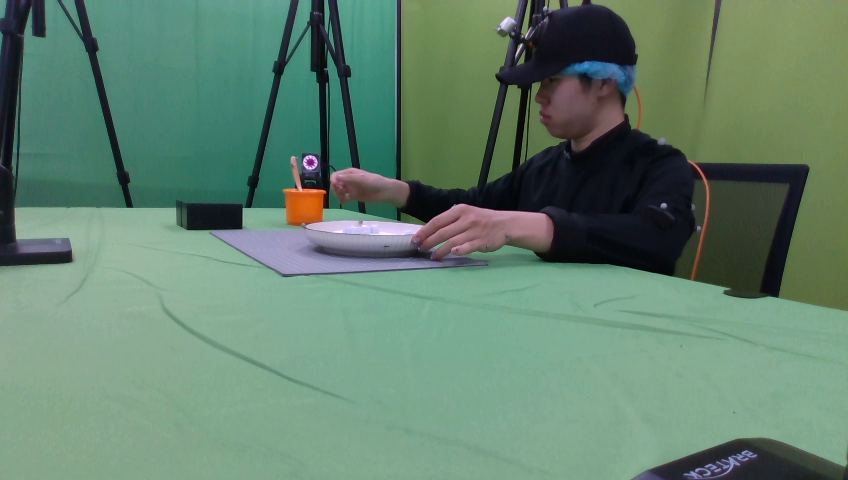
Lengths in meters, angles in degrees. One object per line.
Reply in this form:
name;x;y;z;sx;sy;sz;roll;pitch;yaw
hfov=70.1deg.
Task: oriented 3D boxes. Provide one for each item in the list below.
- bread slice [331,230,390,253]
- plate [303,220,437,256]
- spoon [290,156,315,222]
bread slice;-0.088;0.000;0.947;0.105;0.019;0.131;-4;11;-44
plate;-0.084;-0.003;0.951;0.209;0.038;0.209;3;7;0
spoon;-0.274;-0.116;1.329;0.042;0.021;0.193;-3;49;-25
